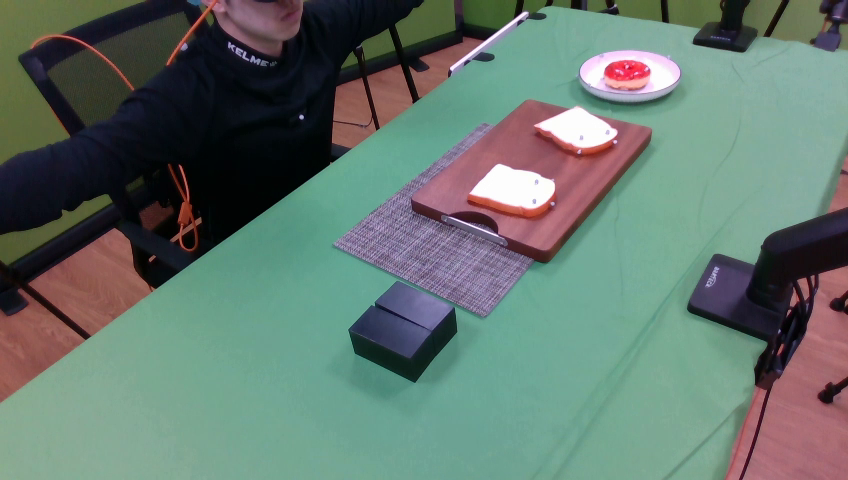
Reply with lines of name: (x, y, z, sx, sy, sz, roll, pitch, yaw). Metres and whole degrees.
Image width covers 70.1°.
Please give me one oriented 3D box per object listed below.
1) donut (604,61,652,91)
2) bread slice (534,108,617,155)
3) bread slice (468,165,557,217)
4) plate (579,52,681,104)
donut: (0.432, -0.349, 1.285, 0.099, 0.048, 0.098, -4, 38, 4)
bread slice: (0.289, -0.200, 1.121, 0.107, 0.018, 0.133, -27, 43, -21)
bread slice: (0.154, -0.082, 1.003, 0.130, 0.019, 0.105, 18, 48, 29)
plate: (0.437, -0.343, 1.294, 0.209, 0.038, 0.208, -4, 40, 4)
